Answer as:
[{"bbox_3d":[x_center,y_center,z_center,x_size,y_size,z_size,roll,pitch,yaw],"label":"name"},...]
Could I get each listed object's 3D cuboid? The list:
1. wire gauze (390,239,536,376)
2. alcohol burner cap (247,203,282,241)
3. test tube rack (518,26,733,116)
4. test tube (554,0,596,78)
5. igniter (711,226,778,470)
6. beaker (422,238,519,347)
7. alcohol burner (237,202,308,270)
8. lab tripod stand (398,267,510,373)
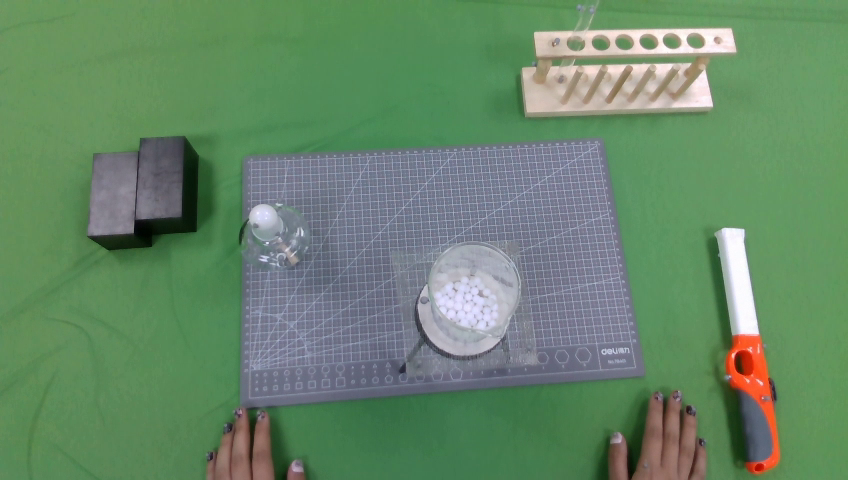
[{"bbox_3d":[0.035,0.061,0.566,0.125,0.011,0.120,-6,71,-2],"label":"wire gauze"},{"bbox_3d":[-0.165,-0.020,0.623,0.034,0.048,0.033,2,75,-6],"label":"alcohol burner cap"},{"bbox_3d":[0.247,-0.209,0.756,0.242,0.085,0.066,-3,73,-3],"label":"test tube rack"},{"bbox_3d":[0.176,-0.240,0.710,0.017,0.151,0.017,1,68,-2],"label":"test tube"},{"bbox_3d":[0.365,0.117,0.693,0.057,0.025,0.275,3,73,-12],"label":"igniter"},{"bbox_3d":[0.039,0.052,0.518,0.074,0.101,0.083,-26,74,-9],"label":"beaker"},{"bbox_3d":[-0.167,-0.010,0.657,0.078,0.120,0.077,1,71,-1],"label":"alcohol burner"},{"bbox_3d":[0.031,0.084,0.628,0.148,0.132,0.147,0,72,-1],"label":"lab tripod stand"}]
